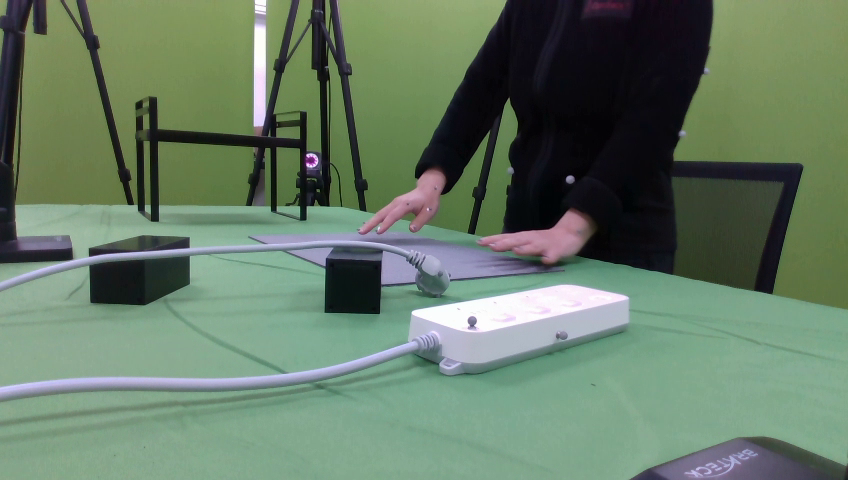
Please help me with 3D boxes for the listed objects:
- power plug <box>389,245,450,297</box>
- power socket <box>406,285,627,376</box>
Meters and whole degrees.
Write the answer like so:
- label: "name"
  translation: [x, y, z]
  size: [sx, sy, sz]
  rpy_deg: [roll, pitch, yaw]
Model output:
- label: "power plug"
  translation: [-0.004, 0.029, 0.629]
  size: [0.035, 0.072, 0.052]
  rpy_deg: [-47, -5, -32]
- label: "power socket"
  translation: [0.083, 0.065, 0.486]
  size: [0.228, 0.032, 0.072]
  rpy_deg: [-5, 9, -42]
